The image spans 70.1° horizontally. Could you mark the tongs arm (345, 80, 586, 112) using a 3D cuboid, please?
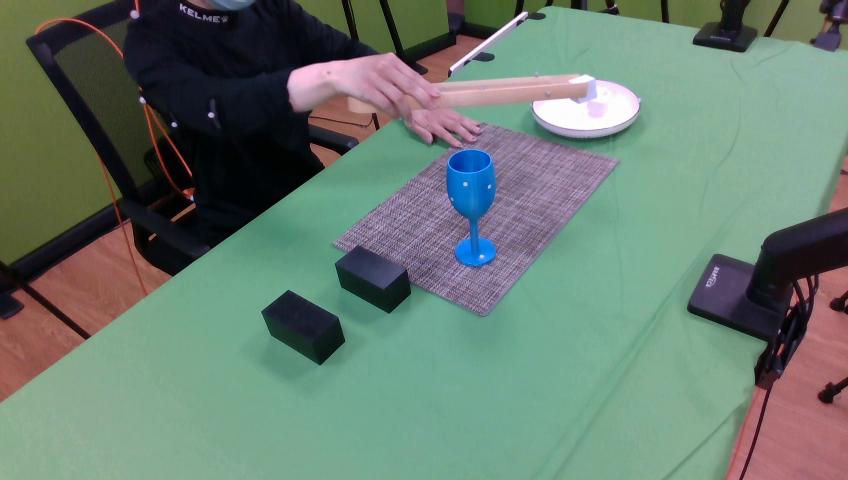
[{"bbox_3d":[0.071,-0.229,0.958,0.389,0.028,0.028,-5,34,-7],"label":"tongs arm"}]

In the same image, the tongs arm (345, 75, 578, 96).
[{"bbox_3d":[0.067,-0.241,0.978,0.385,0.026,0.050,-3,30,-4],"label":"tongs arm"}]

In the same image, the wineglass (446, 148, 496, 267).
[{"bbox_3d":[0.072,-0.045,0.889,0.074,0.173,0.073,-4,41,4],"label":"wineglass"}]

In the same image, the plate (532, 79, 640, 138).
[{"bbox_3d":[0.322,-0.259,1.212,0.209,0.038,0.208,-4,40,4],"label":"plate"}]
